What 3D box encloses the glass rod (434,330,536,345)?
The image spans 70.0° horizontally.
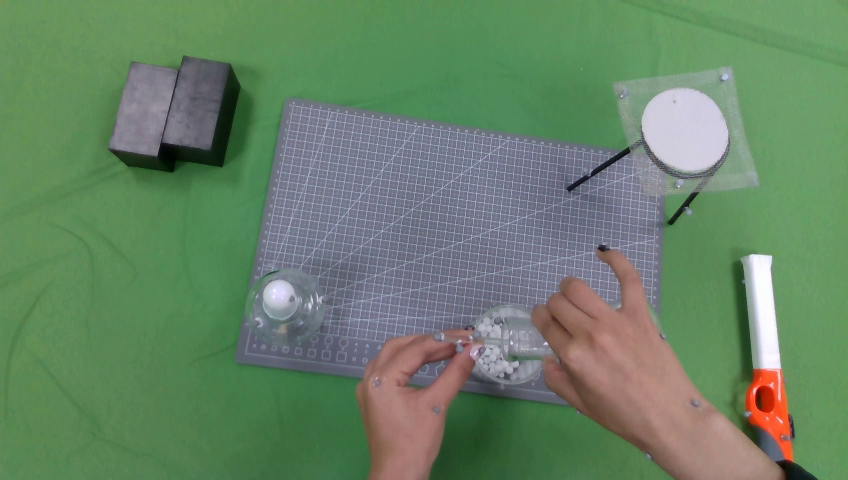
[{"bbox_3d":[0.059,0.084,0.514,0.008,0.201,0.008,-6,77,29],"label":"glass rod"}]

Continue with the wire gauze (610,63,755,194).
[{"bbox_3d":[0.251,-0.107,0.584,0.125,0.011,0.121,-8,81,-7],"label":"wire gauze"}]

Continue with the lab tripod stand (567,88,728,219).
[{"bbox_3d":[0.242,-0.090,0.648,0.148,0.132,0.148,1,79,-6],"label":"lab tripod stand"}]

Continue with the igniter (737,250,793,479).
[{"bbox_3d":[0.374,0.148,0.667,0.057,0.025,0.275,4,78,-15],"label":"igniter"}]

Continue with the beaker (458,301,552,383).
[{"bbox_3d":[0.076,0.103,0.609,0.084,0.100,0.073,-10,79,-8],"label":"beaker"}]

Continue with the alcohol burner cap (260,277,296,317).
[{"bbox_3d":[-0.134,0.050,0.555,0.034,0.048,0.033,4,71,-11],"label":"alcohol burner cap"}]

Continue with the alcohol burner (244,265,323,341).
[{"bbox_3d":[-0.138,0.059,0.590,0.078,0.119,0.077,2,77,-7],"label":"alcohol burner"}]

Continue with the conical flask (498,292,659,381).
[{"bbox_3d":[0.125,0.080,0.505,0.122,0.075,0.075,1,78,-6],"label":"conical flask"}]
